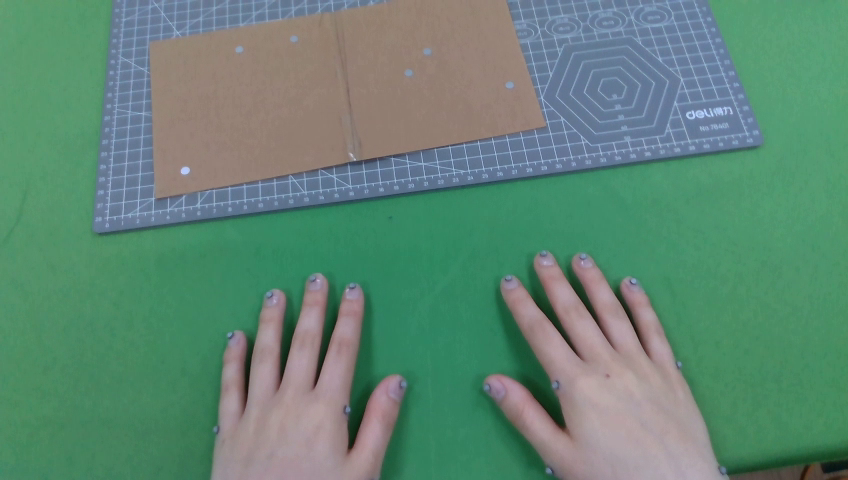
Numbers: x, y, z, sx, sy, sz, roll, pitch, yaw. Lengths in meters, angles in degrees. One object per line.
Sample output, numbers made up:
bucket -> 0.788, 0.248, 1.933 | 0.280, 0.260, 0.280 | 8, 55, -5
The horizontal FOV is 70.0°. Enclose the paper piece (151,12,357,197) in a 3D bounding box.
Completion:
paper piece -> -0.124, -0.102, 0.430 | 0.138, 0.009, 0.135 | -11, 64, -2

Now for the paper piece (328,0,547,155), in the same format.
paper piece -> 0.006, -0.128, 0.436 | 0.136, 0.004, 0.134 | -10, 66, -3
